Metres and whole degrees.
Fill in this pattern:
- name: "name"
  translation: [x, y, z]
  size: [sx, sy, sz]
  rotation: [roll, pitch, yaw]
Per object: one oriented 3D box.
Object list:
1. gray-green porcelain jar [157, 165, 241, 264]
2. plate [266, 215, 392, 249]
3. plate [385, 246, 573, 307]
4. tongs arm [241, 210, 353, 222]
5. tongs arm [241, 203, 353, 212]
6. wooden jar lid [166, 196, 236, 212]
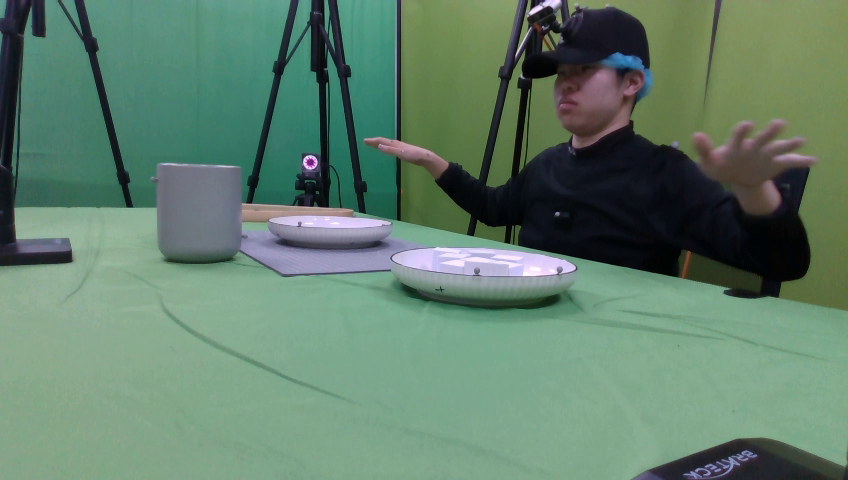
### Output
- name: "gray-green porcelain jar"
  translation: [-0.300, -0.036, 0.811]
  size: [0.106, 0.126, 0.106]
  rotation: [2, 8, 0]
- name: "plate"
  translation: [-0.159, -0.015, 1.019]
  size: [0.209, 0.038, 0.209]
  rotation: [3, 7, 0]
- name: "plate"
  translation: [0.060, 0.041, 0.678]
  size: [0.208, 0.039, 0.207]
  rotation: [3, 7, 0]
- name: "tongs arm"
  translation: [-0.337, -0.054, 1.329]
  size: [0.389, 0.028, 0.028]
  rotation: [-1, 6, -27]
- name: "tongs arm"
  translation: [-0.361, -0.069, 1.406]
  size: [0.386, 0.026, 0.050]
  rotation: [1, 8, -14]
- name: "wooden jar lid"
  translation: [-0.369, -0.059, 1.001]
  size: [0.108, 0.020, 0.108]
  rotation: [3, 6, 0]
